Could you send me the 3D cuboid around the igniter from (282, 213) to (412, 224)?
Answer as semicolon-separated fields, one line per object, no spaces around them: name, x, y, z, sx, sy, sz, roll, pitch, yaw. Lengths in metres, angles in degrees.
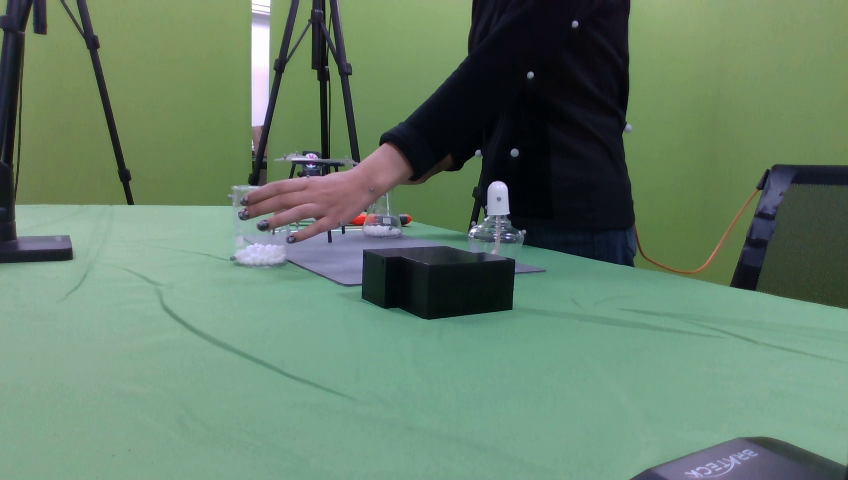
igniter;-0.159;-0.046;1.287;0.278;0.025;0.057;-1;-3;-21

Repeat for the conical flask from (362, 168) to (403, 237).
conical flask;-0.073;-0.069;1.095;0.075;0.122;0.075;3;8;0

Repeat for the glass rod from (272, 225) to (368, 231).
glass rod;-0.197;-0.023;1.169;0.201;0.008;0.008;-3;9;-34

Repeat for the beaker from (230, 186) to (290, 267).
beaker;-0.209;-0.019;0.778;0.074;0.100;0.084;3;7;4

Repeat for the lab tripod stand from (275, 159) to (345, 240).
lab tripod stand;-0.181;-0.072;1.039;0.148;0.131;0.148;4;8;0

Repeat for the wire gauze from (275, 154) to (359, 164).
wire gauze;-0.179;-0.137;1.028;0.121;0.011;0.125;4;8;0

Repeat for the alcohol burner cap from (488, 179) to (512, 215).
alcohol burner cap;0.101;-0.058;0.816;0.034;0.048;0.034;-4;8;1

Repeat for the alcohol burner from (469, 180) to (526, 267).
alcohol burner;0.101;-0.022;0.821;0.078;0.119;0.078;4;7;0
